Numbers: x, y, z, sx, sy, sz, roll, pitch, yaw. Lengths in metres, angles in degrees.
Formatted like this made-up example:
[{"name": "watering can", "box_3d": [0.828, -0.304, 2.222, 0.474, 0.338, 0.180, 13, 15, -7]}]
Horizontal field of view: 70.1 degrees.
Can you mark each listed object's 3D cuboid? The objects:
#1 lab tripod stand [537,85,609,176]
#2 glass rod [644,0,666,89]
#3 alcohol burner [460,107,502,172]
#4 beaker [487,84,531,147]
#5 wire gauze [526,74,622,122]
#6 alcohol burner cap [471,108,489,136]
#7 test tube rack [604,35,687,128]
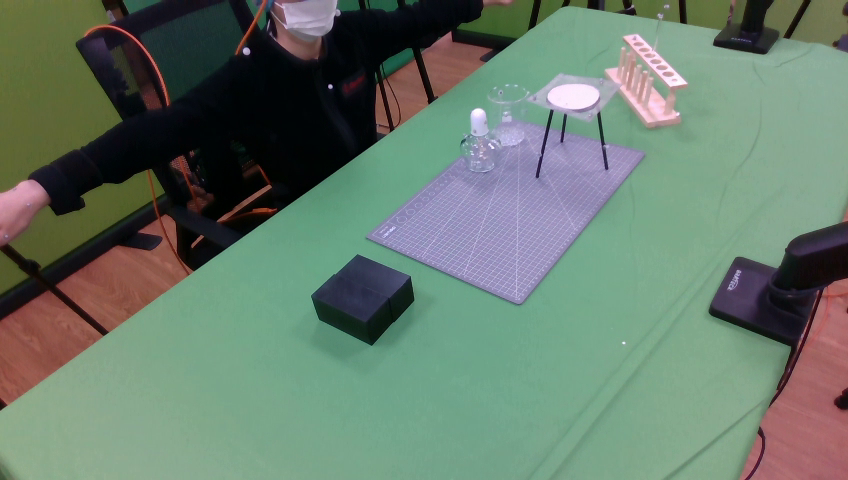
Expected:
[{"name": "lab tripod stand", "box_3d": [0.259, -0.192, 1.068, 0.148, 0.132, 0.147, -4, 42, 4]}, {"name": "glass rod", "box_3d": [0.465, -0.397, 1.215, 0.008, 0.200, 0.008, 0, 39, 1]}, {"name": "alcohol burner", "box_3d": [0.102, -0.185, 1.098, 0.078, 0.119, 0.077, -6, 40, 5]}, {"name": "beaker", "box_3d": [0.163, -0.237, 1.161, 0.084, 0.101, 0.073, -10, 41, -3]}, {"name": "wire gauze", "box_3d": [0.255, -0.248, 1.030, 0.124, 0.011, 0.122, 24, 51, 32]}, {"name": "alcohol burner cap", "box_3d": [0.098, -0.211, 1.074, 0.034, 0.048, 0.033, -6, 41, 6]}, {"name": "test tube rack", "box_3d": [0.447, -0.330, 1.241, 0.067, 0.085, 0.241, -9, 41, -2]}]
